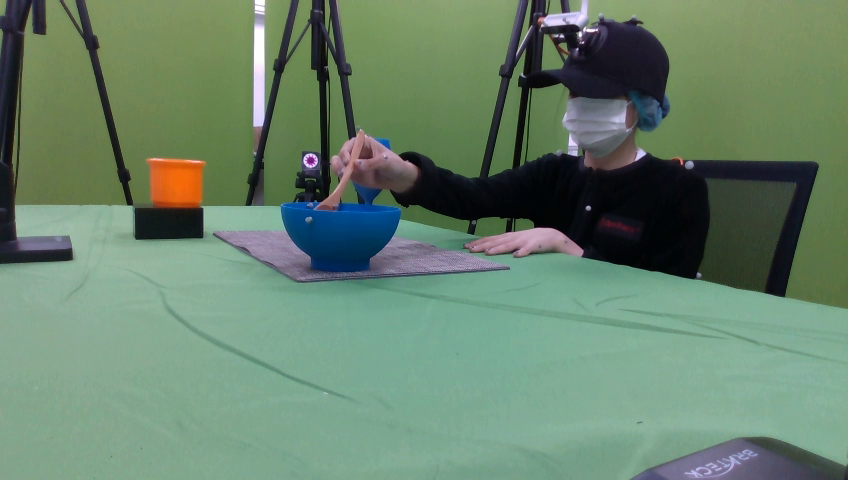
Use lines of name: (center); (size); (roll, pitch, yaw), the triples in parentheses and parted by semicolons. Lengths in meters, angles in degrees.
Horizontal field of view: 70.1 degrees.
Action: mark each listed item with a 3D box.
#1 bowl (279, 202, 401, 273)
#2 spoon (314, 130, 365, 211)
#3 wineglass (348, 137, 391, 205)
bowl: (-0.105, -0.003, 0.756); (0.151, 0.077, 0.151); (3, 7, 0)
spoon: (-0.109, -0.078, 0.814); (0.021, 0.193, 0.042); (-12, -43, 42)
wineglass: (-0.092, -0.081, 0.998); (0.074, 0.172, 0.073); (3, 7, 0)
